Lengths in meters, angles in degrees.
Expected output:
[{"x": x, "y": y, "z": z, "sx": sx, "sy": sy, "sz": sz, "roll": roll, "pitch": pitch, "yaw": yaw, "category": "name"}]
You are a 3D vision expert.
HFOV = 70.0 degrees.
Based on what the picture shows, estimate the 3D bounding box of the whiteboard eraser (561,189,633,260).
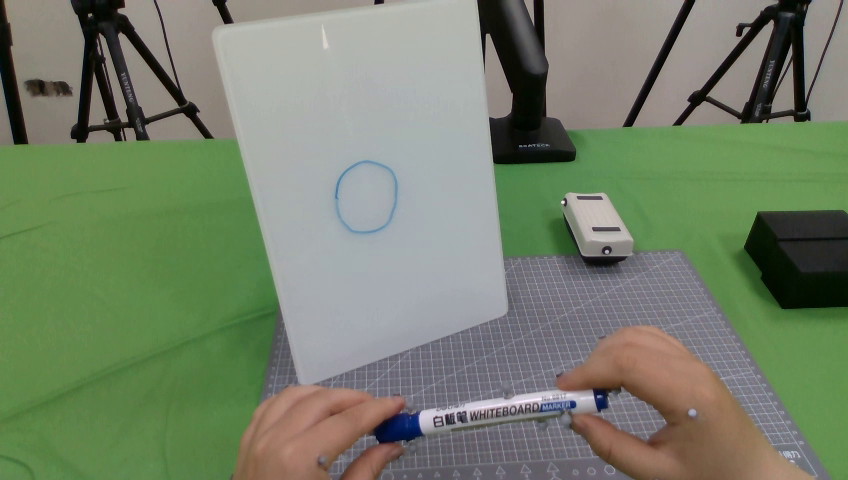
[{"x": 0.197, "y": -0.018, "z": 0.699, "sx": 0.055, "sy": 0.042, "sz": 0.111, "roll": -2, "pitch": 34, "yaw": -1, "category": "whiteboard eraser"}]

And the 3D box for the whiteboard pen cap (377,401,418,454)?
[{"x": -0.017, "y": 0.119, "z": 0.386, "sx": 0.018, "sy": 0.033, "sz": 0.018, "roll": 24, "pitch": 21, "yaw": -9, "category": "whiteboard pen cap"}]

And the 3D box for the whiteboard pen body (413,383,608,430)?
[{"x": 0.040, "y": 0.103, "z": 0.367, "sx": 0.140, "sy": 0.017, "sz": 0.017, "roll": -14, "pitch": 33, "yaw": 21, "category": "whiteboard pen body"}]

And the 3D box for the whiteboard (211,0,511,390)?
[{"x": -0.059, "y": -0.056, "z": 0.575, "sx": 0.218, "sy": 0.307, "sz": 0.142, "roll": -16, "pitch": 21, "yaw": -20, "category": "whiteboard"}]
